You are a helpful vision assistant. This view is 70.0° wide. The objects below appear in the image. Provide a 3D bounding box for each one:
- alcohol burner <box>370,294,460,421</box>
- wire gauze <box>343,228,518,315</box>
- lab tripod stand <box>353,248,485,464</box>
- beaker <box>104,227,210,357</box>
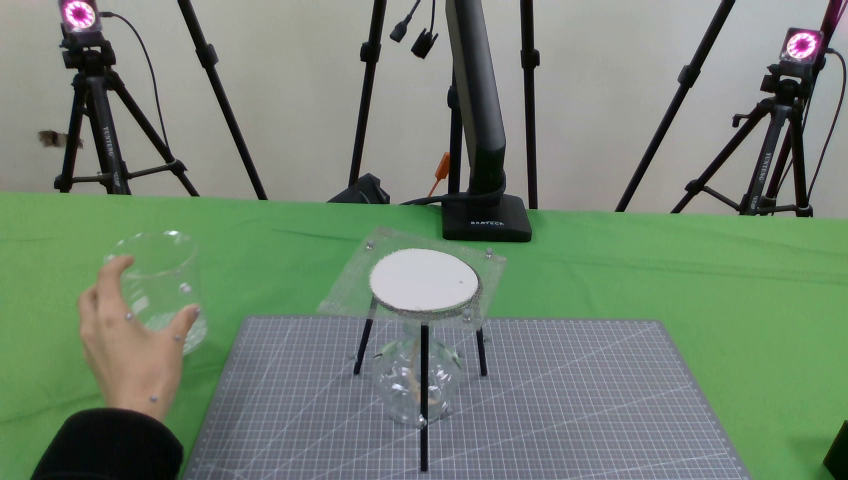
[{"bbox_3d":[-0.007,0.095,0.515,0.078,0.120,0.077,3,30,-2],"label":"alcohol burner"},{"bbox_3d":[0.003,0.018,0.462,0.125,0.011,0.120,7,25,-8],"label":"wire gauze"},{"bbox_3d":[0.000,0.087,0.510,0.148,0.132,0.147,3,32,-2],"label":"lab tripod stand"},{"bbox_3d":[-0.236,0.047,0.550,0.074,0.101,0.083,11,33,10],"label":"beaker"}]
